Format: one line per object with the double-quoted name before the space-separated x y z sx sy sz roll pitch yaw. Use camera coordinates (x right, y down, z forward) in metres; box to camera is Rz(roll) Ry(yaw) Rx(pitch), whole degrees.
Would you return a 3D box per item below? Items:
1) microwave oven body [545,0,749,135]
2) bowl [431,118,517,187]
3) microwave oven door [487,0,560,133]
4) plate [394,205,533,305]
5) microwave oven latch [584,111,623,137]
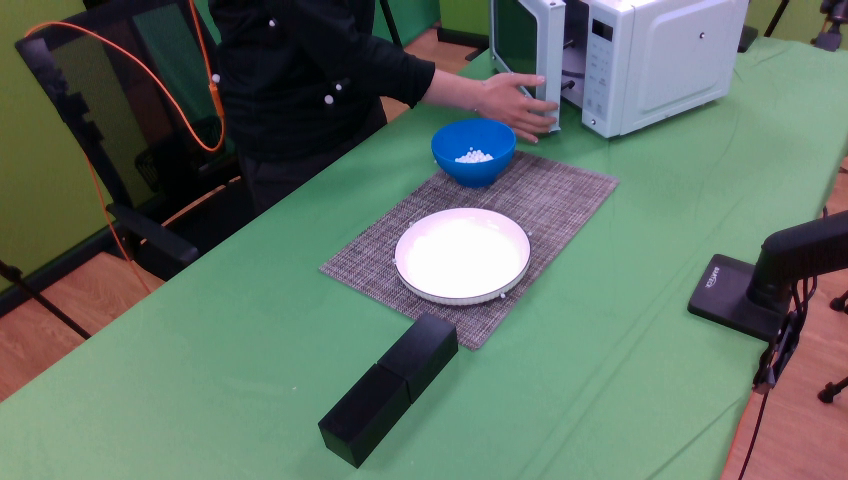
"microwave oven body" 0.382 -0.444 1.246 0.327 0.261 0.437 -22 42 -16
"bowl" 0.090 -0.147 1.080 0.151 0.077 0.150 -3 41 3
"microwave oven door" 0.196 -0.409 1.223 0.039 0.245 0.353 -12 41 -7
"plate" 0.059 0.025 0.915 0.207 0.039 0.206 -4 41 4
"microwave oven latch" 0.337 -0.222 1.142 0.030 0.029 0.078 -21 42 -14
